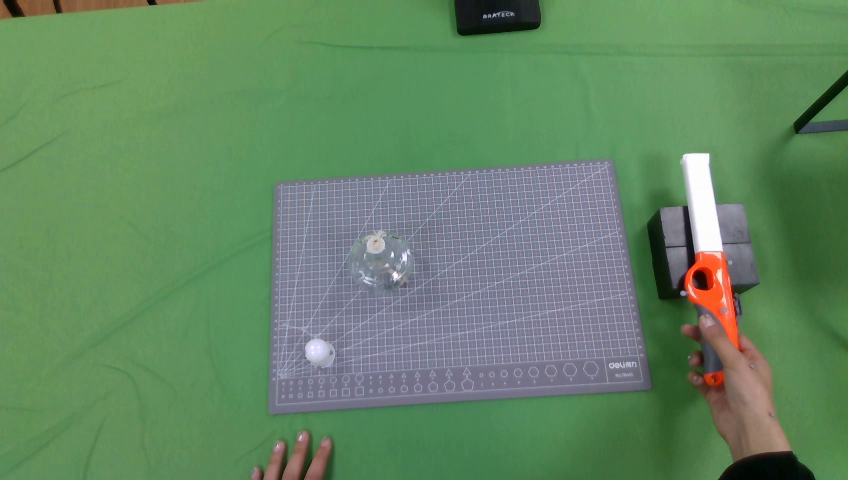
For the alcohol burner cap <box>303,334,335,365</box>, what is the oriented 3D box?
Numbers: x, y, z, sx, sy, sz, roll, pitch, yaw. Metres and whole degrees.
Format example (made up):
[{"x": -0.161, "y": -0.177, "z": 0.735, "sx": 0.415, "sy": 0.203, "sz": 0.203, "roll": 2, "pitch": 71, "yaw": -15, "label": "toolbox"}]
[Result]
[{"x": -0.126, "y": 0.128, "z": 0.713, "sx": 0.034, "sy": 0.048, "sz": 0.033, "roll": -1, "pitch": 71, "yaw": 3, "label": "alcohol burner cap"}]

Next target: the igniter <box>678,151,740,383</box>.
[{"x": 0.322, "y": 0.023, "z": 0.692, "sx": 0.057, "sy": 0.025, "sz": 0.274, "roll": 0, "pitch": 69, "yaw": 5, "label": "igniter"}]

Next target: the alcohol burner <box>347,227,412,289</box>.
[{"x": -0.054, "y": 0.016, "z": 0.709, "sx": 0.078, "sy": 0.120, "sz": 0.077, "roll": 0, "pitch": 71, "yaw": 0, "label": "alcohol burner"}]
